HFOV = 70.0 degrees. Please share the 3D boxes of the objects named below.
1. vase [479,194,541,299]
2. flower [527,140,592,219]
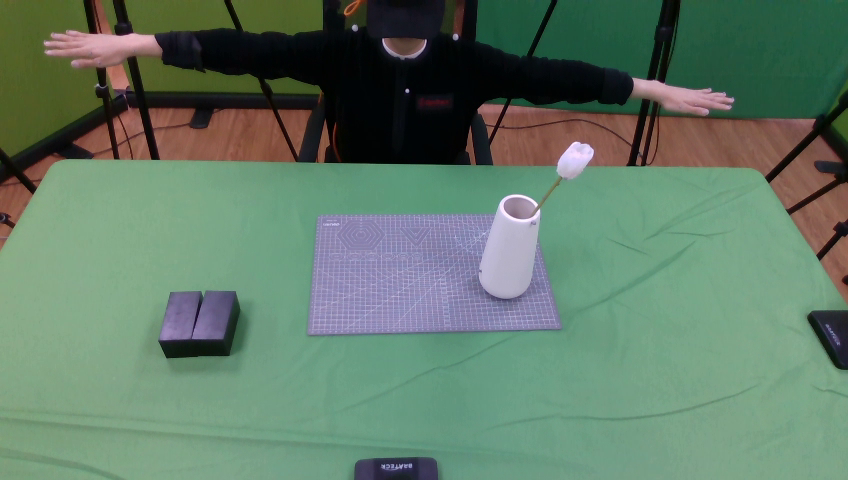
[{"bbox_3d":[0.152,0.015,1.066,0.098,0.201,0.097,1,47,-1],"label":"vase"},{"bbox_3d":[0.173,-0.036,1.002,0.044,0.363,0.038,-20,66,-29],"label":"flower"}]
